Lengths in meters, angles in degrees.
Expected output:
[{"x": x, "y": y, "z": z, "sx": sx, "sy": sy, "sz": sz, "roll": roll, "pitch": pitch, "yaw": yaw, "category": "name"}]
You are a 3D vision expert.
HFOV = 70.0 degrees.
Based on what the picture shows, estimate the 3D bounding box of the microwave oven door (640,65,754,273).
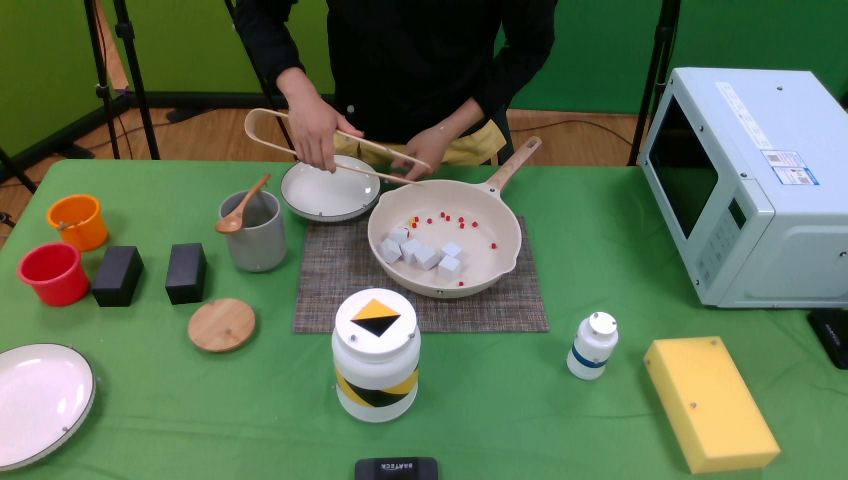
[{"x": 0.523, "y": -0.147, "z": 1.193, "sx": 0.039, "sy": 0.245, "sz": 0.353, "roll": 0, "pitch": 47, "yaw": -3, "category": "microwave oven door"}]

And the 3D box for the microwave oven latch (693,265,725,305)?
[{"x": 0.523, "y": 0.081, "z": 1.116, "sx": 0.030, "sy": 0.029, "sz": 0.078, "roll": 2, "pitch": 46, "yaw": -1, "category": "microwave oven latch"}]

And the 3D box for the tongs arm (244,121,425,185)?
[{"x": -0.170, "y": -0.154, "z": 1.077, "sx": 0.386, "sy": 0.028, "sz": 0.028, "roll": 19, "pitch": 11, "yaw": 23, "category": "tongs arm"}]

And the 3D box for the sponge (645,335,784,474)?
[{"x": 0.449, "y": 0.253, "z": 0.956, "sx": 0.118, "sy": 0.061, "sz": 0.205, "roll": -4, "pitch": 46, "yaw": -7, "category": "sponge"}]

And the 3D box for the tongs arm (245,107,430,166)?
[{"x": -0.163, "y": -0.176, "z": 1.074, "sx": 0.383, "sy": 0.051, "sz": 0.026, "roll": 24, "pitch": 9, "yaw": 23, "category": "tongs arm"}]

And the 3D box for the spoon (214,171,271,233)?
[{"x": -0.312, "y": -0.070, "z": 1.070, "sx": 0.041, "sy": 0.022, "sz": 0.193, "roll": 10, "pitch": 43, "yaw": 10, "category": "spoon"}]

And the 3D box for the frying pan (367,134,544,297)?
[{"x": 0.103, "y": -0.069, "z": 1.205, "sx": 0.305, "sy": 0.103, "sz": 0.487, "roll": 32, "pitch": 61, "yaw": 23, "category": "frying pan"}]

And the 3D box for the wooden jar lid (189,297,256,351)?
[{"x": -0.342, "y": 0.145, "z": 1.033, "sx": 0.108, "sy": 0.021, "sz": 0.107, "roll": 2, "pitch": 45, "yaw": -2, "category": "wooden jar lid"}]

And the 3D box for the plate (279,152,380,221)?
[{"x": -0.196, "y": -0.108, "z": 1.269, "sx": 0.208, "sy": 0.039, "sz": 0.206, "roll": 2, "pitch": 45, "yaw": -2, "category": "plate"}]

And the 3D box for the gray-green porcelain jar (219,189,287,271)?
[{"x": -0.310, "y": -0.014, "z": 1.113, "sx": 0.106, "sy": 0.127, "sz": 0.105, "roll": 2, "pitch": 46, "yaw": -2, "category": "gray-green porcelain jar"}]

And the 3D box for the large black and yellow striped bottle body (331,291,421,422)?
[{"x": -0.071, "y": 0.175, "z": 0.911, "sx": 0.131, "sy": 0.185, "sz": 0.130, "roll": 2, "pitch": 47, "yaw": -2, "category": "large black and yellow striped bottle body"}]

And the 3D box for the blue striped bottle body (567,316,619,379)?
[{"x": 0.276, "y": 0.168, "z": 0.984, "sx": 0.063, "sy": 0.121, "sz": 0.062, "roll": 2, "pitch": 46, "yaw": -2, "category": "blue striped bottle body"}]

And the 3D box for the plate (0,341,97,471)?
[{"x": -0.599, "y": 0.247, "z": 0.904, "sx": 0.209, "sy": 0.038, "sz": 0.208, "roll": 2, "pitch": 47, "yaw": -2, "category": "plate"}]

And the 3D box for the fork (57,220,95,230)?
[{"x": -0.624, "y": -0.027, "z": 1.086, "sx": 0.028, "sy": 0.018, "sz": 0.207, "roll": -3, "pitch": 2, "yaw": -17, "category": "fork"}]

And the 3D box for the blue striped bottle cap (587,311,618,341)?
[{"x": 0.279, "y": 0.134, "z": 0.947, "sx": 0.044, "sy": 0.021, "sz": 0.044, "roll": 2, "pitch": 45, "yaw": -2, "category": "blue striped bottle cap"}]

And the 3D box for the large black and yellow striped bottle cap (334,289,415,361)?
[{"x": -0.069, "y": 0.117, "z": 0.850, "sx": 0.115, "sy": 0.019, "sz": 0.114, "roll": 2, "pitch": 45, "yaw": -2, "category": "large black and yellow striped bottle cap"}]

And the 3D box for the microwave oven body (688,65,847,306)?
[{"x": 0.669, "y": -0.111, "z": 1.176, "sx": 0.326, "sy": 0.261, "sz": 0.439, "roll": 0, "pitch": 46, "yaw": -3, "category": "microwave oven body"}]
